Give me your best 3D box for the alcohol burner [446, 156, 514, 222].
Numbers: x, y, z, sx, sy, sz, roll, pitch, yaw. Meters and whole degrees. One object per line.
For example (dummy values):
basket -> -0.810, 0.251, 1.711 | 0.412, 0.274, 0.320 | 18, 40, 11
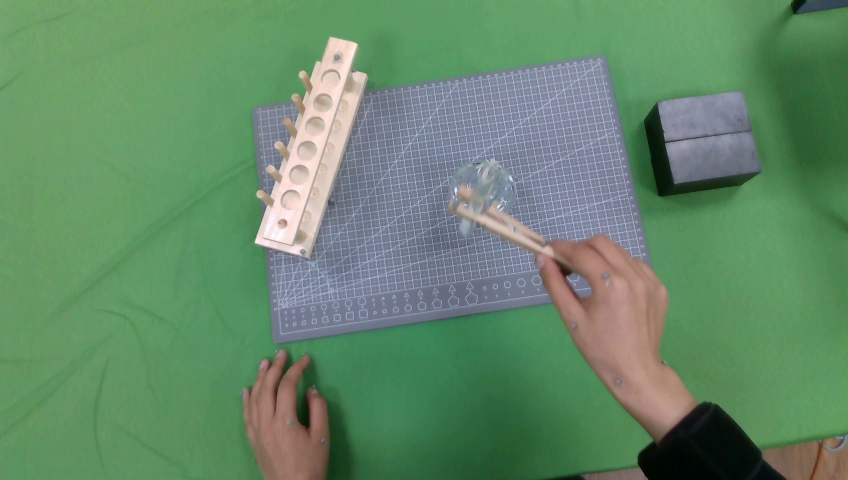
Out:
alcohol burner -> 0.064, -0.062, 0.676 | 0.078, 0.119, 0.077 | 0, 78, 1

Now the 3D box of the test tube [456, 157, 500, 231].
test tube -> 0.044, -0.034, 0.514 | 0.017, 0.151, 0.017 | 1, 74, -4

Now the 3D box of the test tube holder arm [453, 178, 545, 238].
test tube holder arm -> 0.065, -0.025, 0.523 | 0.087, 0.015, 0.010 | 34, 71, 4

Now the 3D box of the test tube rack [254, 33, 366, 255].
test tube rack -> -0.139, -0.113, 0.706 | 0.066, 0.085, 0.241 | 15, 80, 6

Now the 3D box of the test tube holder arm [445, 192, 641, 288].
test tube holder arm -> 0.102, 0.001, 0.520 | 0.178, 0.015, 0.013 | 26, 71, 1
